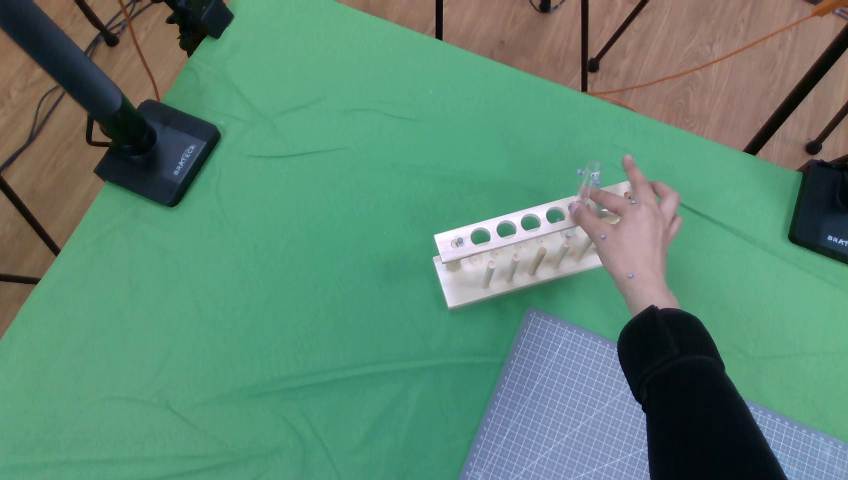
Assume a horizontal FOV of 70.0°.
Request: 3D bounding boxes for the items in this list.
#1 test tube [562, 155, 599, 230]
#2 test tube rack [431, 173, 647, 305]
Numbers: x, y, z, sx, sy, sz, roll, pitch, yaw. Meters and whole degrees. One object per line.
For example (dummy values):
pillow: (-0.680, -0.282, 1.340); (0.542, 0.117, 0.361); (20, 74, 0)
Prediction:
test tube: (0.169, -0.047, 0.663); (0.017, 0.151, 0.017); (-1, 66, 3)
test tube rack: (0.133, 0.001, 0.698); (0.242, 0.086, 0.066); (-16, 70, -6)
